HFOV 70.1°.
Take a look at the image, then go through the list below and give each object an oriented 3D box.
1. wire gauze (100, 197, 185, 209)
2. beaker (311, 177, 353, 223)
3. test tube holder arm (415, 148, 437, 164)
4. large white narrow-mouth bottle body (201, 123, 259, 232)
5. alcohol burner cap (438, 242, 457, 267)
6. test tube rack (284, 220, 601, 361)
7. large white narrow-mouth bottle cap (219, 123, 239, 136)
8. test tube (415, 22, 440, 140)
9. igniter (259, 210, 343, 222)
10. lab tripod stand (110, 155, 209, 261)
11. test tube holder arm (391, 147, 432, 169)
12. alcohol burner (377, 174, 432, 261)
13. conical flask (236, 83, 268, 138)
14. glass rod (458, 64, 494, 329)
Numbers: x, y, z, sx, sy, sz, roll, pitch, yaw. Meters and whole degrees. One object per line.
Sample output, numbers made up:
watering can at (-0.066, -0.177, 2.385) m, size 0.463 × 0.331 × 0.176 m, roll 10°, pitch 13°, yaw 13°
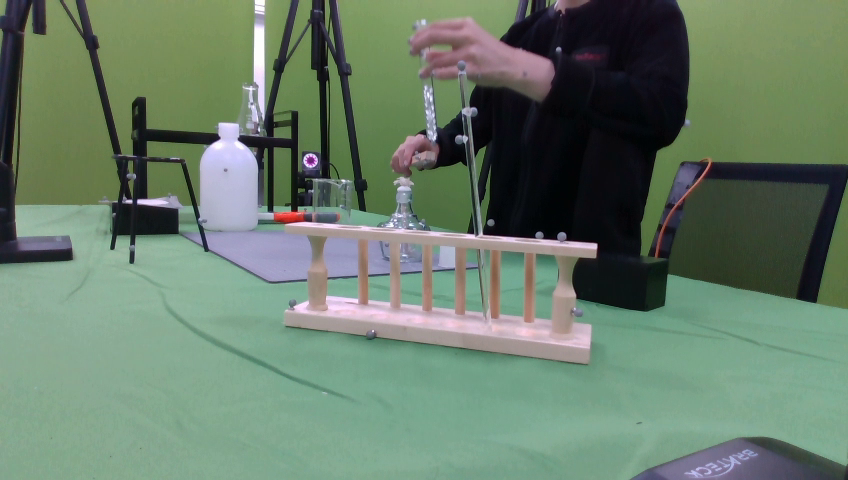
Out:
wire gauze at (-0.469, -0.062, 1.008) m, size 0.126 × 0.011 × 0.121 m, roll -2°, pitch 8°, yaw -25°
beaker at (-0.167, -0.064, 1.106) m, size 0.074 × 0.100 × 0.083 m, roll -2°, pitch 9°, yaw -27°
test tube holder arm at (-0.001, -0.135, 0.974) m, size 0.010 × 0.015 × 0.087 m, roll 16°, pitch -7°, yaw -21°
large white narrow-mouth bottle body at (-0.358, -0.116, 1.116) m, size 0.102 × 0.194 × 0.102 m, roll 2°, pitch 8°, yaw 0°
alcohol burner cap at (0.037, 0.010, 0.807) m, size 0.034 × 0.048 × 0.034 m, roll 5°, pitch 9°, yaw -1°
test tube rack at (0.013, 0.032, 0.482) m, size 0.242 × 0.085 × 0.067 m, roll 4°, pitch 7°, yaw 16°
large white narrow-mouth bottle cap at (-0.356, -0.201, 1.104) m, size 0.038 × 0.024 × 0.037 m, roll 2°, pitch 8°, yaw 0°
test tube at (0.005, -0.206, 0.792) m, size 0.017 × 0.150 × 0.017 m, roll -6°, pitch 18°, yaw 2°
igniter at (-0.303, -0.049, 1.258) m, size 0.278 × 0.025 × 0.057 m, roll -2°, pitch -2°, yaw -28°
lab tripod stand at (-0.361, -0.046, 0.806) m, size 0.148 × 0.131 × 0.148 m, roll 2°, pitch 5°, yaw 0°
test tube holder arm at (-0.023, -0.136, 1.014) m, size 0.013 × 0.015 × 0.177 m, roll 16°, pitch -7°, yaw -22°
alcohol burner at (-0.027, -0.031, 0.838) m, size 0.078 × 0.119 × 0.078 m, roll 0°, pitch 6°, yaw 0°
conical flask at (-0.400, -0.298, 1.396) m, size 0.075 × 0.122 × 0.075 m, roll 2°, pitch 8°, yaw 0°
glass rod at (0.039, -0.029, 0.449) m, size 0.008 × 0.199 × 0.008 m, roll -7°, pitch 9°, yaw 1°
